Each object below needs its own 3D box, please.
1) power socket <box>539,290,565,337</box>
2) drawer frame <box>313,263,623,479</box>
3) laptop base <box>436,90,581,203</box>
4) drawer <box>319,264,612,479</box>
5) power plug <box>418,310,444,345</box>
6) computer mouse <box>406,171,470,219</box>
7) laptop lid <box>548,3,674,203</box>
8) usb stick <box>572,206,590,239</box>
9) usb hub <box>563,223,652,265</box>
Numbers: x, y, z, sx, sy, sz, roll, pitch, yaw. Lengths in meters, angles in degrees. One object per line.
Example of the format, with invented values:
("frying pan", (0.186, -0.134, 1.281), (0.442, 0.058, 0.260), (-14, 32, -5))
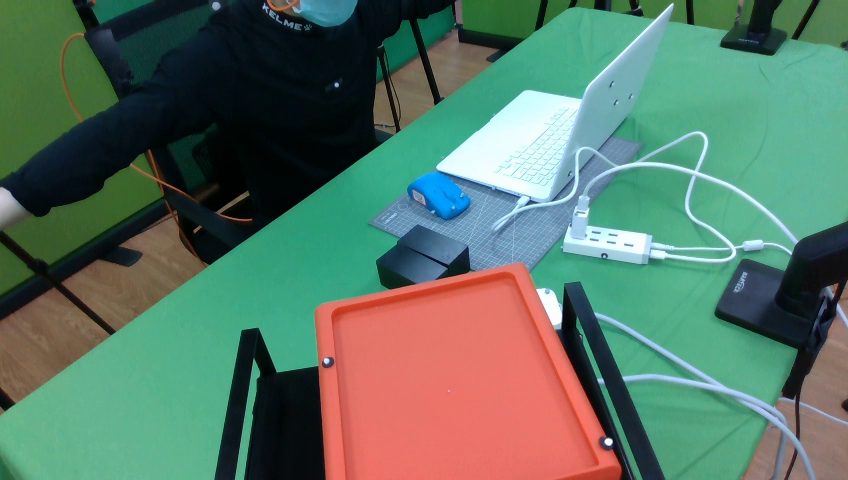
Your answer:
("power socket", (0.081, 0.112, 0.822), (0.227, 0.033, 0.072), (-6, 41, 0))
("drawer frame", (0.021, 0.130, 0.493), (0.202, 0.083, 0.212), (-11, 41, -6))
("laptop base", (0.215, -0.192, 1.172), (0.233, 0.023, 0.355), (19, 46, 32))
("drawer", (0.020, 0.129, 0.497), (0.195, 0.073, 0.210), (-11, 41, -5))
("power plug", (0.007, 0.122, 0.785), (0.035, 0.053, 0.072), (0, 39, 8))
("computer mouse", (0.024, -0.082, 1.049), (0.063, 0.041, 0.116), (-30, 50, -27))
("laptop lid", (0.320, -0.235, 1.026), (0.013, 0.242, 0.357), (31, 50, 20))
("usb stick", (0.237, -0.021, 0.916), (0.021, 0.059, 0.027), (9, 41, 17))
("usb hub", (0.281, 0.005, 0.925), (0.124, 0.025, 0.049), (10, 44, 19))
